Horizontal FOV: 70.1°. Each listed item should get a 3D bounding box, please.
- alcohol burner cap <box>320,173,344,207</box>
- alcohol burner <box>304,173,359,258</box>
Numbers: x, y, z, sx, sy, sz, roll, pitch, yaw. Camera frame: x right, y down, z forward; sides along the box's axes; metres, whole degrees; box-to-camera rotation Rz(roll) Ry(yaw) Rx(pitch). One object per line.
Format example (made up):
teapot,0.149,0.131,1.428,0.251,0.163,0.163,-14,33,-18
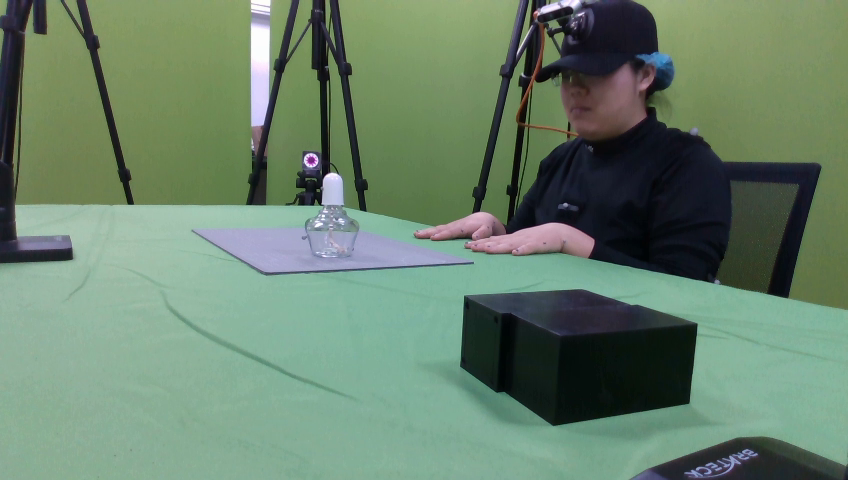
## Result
alcohol burner cap,-0.129,-0.070,0.848,0.034,0.048,0.034,1,2,0
alcohol burner,-0.130,-0.035,0.851,0.078,0.119,0.078,2,5,0
